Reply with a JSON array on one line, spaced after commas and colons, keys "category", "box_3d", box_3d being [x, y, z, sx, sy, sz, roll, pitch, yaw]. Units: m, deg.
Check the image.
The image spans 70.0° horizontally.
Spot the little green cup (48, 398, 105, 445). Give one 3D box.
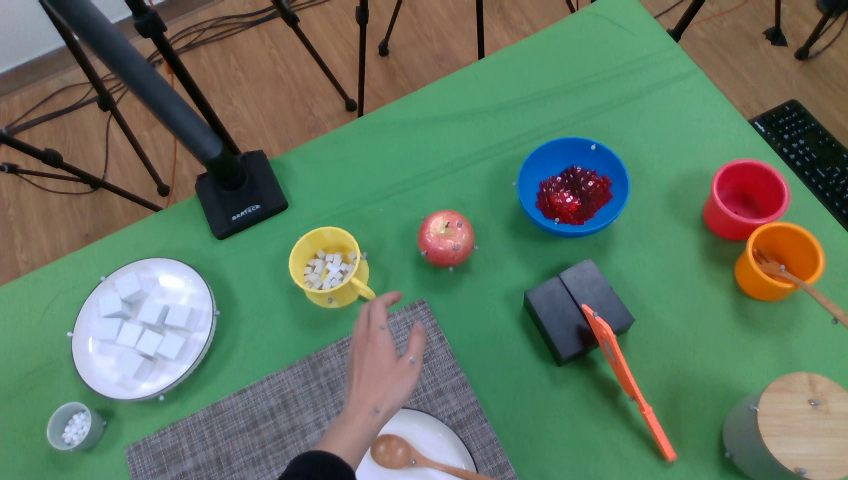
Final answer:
[{"category": "little green cup", "box_3d": [-0.465, 0.247, 0.815, 0.061, 0.039, 0.061, -1, 66, 4]}]

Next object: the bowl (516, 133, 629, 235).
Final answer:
[{"category": "bowl", "box_3d": [0.204, -0.066, 0.853, 0.151, 0.077, 0.150, -2, 66, 6]}]

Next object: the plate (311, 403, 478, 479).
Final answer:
[{"category": "plate", "box_3d": [-0.035, 0.306, 0.736, 0.209, 0.038, 0.207, -2, 66, 6]}]

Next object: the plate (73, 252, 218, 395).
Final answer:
[{"category": "plate", "box_3d": [-0.391, 0.118, 0.865, 0.207, 0.039, 0.206, -2, 66, 6]}]

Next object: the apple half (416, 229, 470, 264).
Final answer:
[{"category": "apple half", "box_3d": [0.023, 0.017, 0.840, 0.081, 0.082, 0.032, 13, 65, 12]}]

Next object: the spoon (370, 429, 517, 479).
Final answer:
[{"category": "spoon", "box_3d": [0.023, 0.270, 0.731, 0.192, 0.022, 0.041, 9, 62, 23]}]

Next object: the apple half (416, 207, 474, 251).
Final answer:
[{"category": "apple half", "box_3d": [0.034, -0.017, 0.855, 0.080, 0.075, 0.053, 11, 64, 15]}]

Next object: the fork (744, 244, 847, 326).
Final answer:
[{"category": "fork", "box_3d": [0.452, 0.051, 0.733, 0.028, 0.019, 0.206, -7, 22, -1]}]

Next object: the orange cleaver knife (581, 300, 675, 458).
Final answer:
[{"category": "orange cleaver knife", "box_3d": [0.246, 0.168, 0.738, 0.012, 0.077, 0.212, -29, 99, -2]}]

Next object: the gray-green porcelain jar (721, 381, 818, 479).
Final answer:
[{"category": "gray-green porcelain jar", "box_3d": [0.402, 0.213, 0.681, 0.106, 0.127, 0.105, -3, 66, 6]}]

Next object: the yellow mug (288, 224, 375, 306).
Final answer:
[{"category": "yellow mug", "box_3d": [-0.122, 0.043, 0.851, 0.130, 0.064, 0.099, 31, 73, 17]}]

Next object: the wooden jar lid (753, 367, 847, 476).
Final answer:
[{"category": "wooden jar lid", "box_3d": [0.395, 0.187, 0.624, 0.108, 0.021, 0.107, -2, 68, 5]}]
